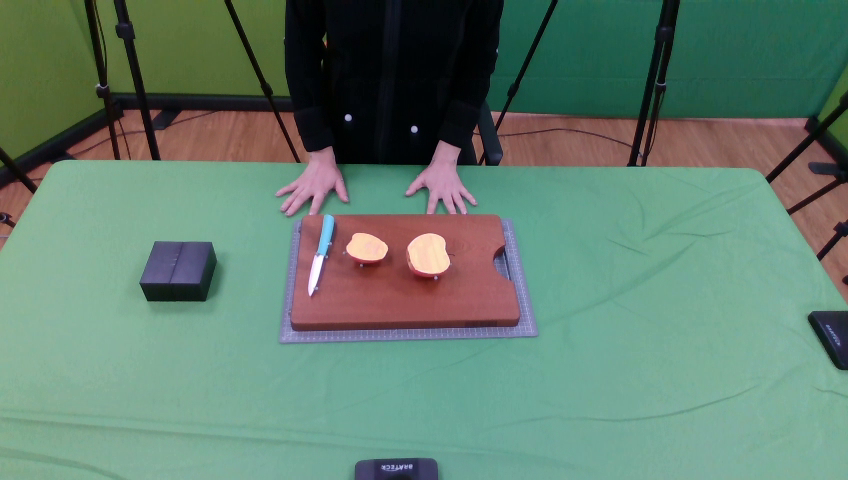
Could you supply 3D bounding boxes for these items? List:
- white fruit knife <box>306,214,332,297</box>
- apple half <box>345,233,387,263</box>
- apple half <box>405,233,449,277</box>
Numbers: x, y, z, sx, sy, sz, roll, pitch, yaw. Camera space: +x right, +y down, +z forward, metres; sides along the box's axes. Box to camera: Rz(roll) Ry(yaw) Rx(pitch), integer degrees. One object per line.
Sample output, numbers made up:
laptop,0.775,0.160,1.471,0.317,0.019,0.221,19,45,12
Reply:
white fruit knife,-0.195,0.025,1.125,0.027,0.016,0.206,-16,44,20
apple half,-0.109,0.024,1.121,0.081,0.033,0.081,13,36,-10
apple half,0.003,0.033,1.103,0.075,0.053,0.080,-12,72,-18
